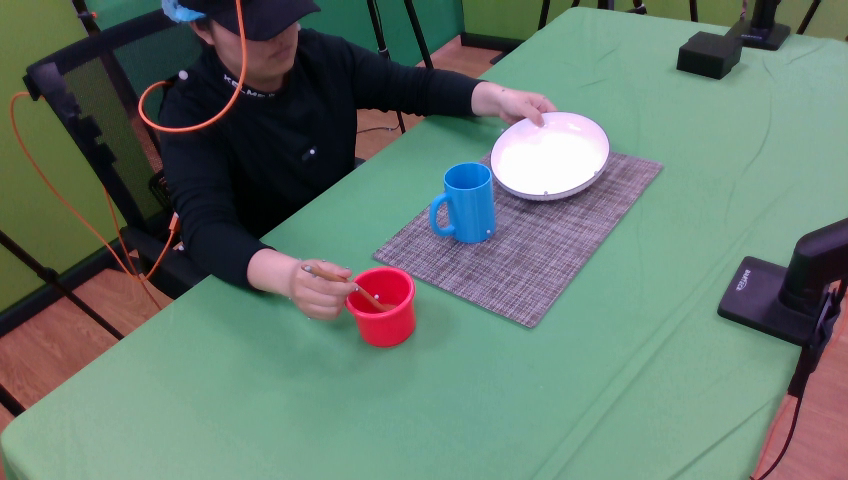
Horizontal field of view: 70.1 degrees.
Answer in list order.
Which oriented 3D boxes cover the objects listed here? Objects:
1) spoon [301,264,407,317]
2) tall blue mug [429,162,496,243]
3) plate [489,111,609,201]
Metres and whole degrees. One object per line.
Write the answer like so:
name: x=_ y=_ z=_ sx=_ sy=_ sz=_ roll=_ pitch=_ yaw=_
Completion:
spoon: x=-0.090 y=0.067 z=0.806 sx=0.041 sy=0.195 sz=0.021 roll=29 pitch=85 yaw=46
tall blue mug: x=0.067 y=-0.051 z=0.961 sx=0.077 sy=0.108 sz=0.107 roll=18 pitch=47 yaw=28
plate: x=0.221 y=-0.144 z=1.074 sx=0.207 sy=0.039 sz=0.206 roll=-9 pitch=51 yaw=11
